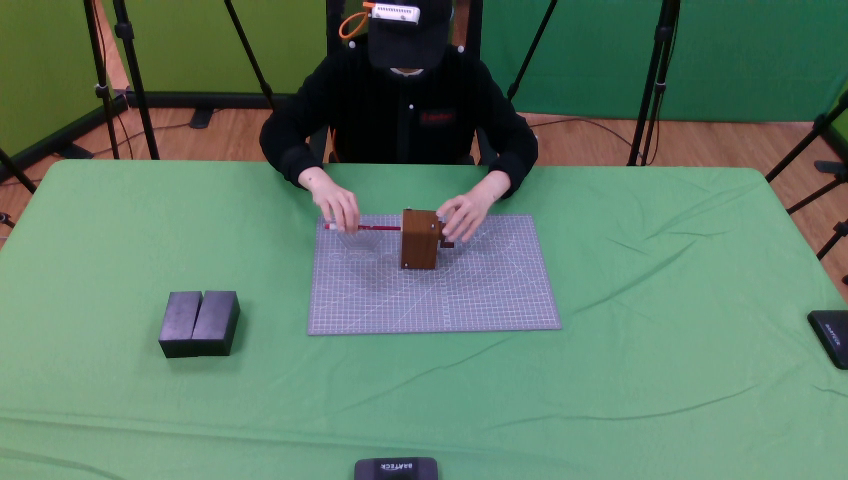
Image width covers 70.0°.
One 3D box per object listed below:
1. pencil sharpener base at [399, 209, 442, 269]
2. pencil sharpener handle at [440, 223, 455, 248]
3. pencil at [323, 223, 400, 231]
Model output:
[{"bbox_3d":[-0.007,0.000,1.134,0.077,0.107,0.061,2,45,-3],"label":"pencil sharpener base"},{"bbox_3d":[0.045,-0.008,1.129,0.031,0.068,0.036,2,52,-2],"label":"pencil sharpener handle"},{"bbox_3d":[-0.087,-0.022,1.113,0.194,0.012,0.012,2,46,-2],"label":"pencil"}]
